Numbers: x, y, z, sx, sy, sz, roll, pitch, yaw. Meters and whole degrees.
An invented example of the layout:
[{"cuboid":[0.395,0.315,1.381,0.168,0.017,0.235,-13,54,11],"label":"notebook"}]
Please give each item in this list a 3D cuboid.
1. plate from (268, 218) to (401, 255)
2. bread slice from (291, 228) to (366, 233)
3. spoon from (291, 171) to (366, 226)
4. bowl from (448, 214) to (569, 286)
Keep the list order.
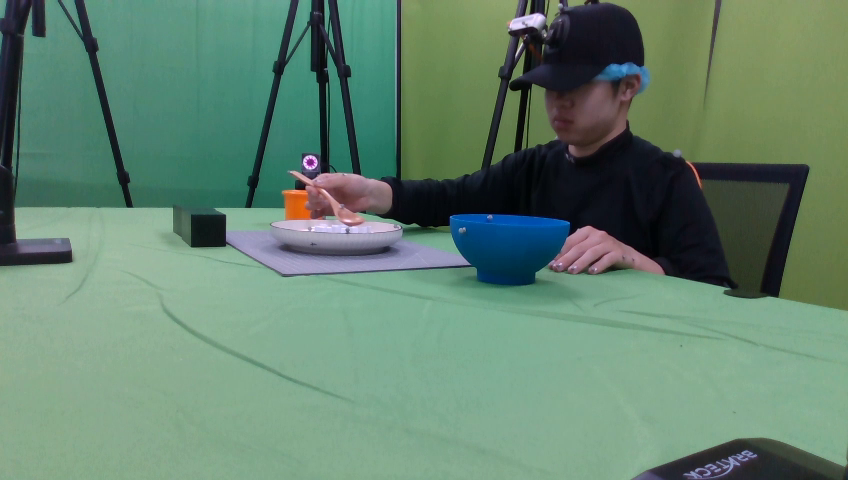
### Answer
[{"cuboid":[-0.140,-0.006,0.958,0.209,0.038,0.209,3,7,0],"label":"plate"},{"cuboid":[-0.143,-0.003,0.953,0.135,0.018,0.106,-1,8,-37],"label":"bread slice"},{"cuboid":[-0.166,-0.073,1.020,0.042,0.021,0.193,-16,46,-44],"label":"spoon"},{"cuboid":[0.103,0.012,0.757,0.151,0.077,0.151,2,7,0],"label":"bowl"}]
